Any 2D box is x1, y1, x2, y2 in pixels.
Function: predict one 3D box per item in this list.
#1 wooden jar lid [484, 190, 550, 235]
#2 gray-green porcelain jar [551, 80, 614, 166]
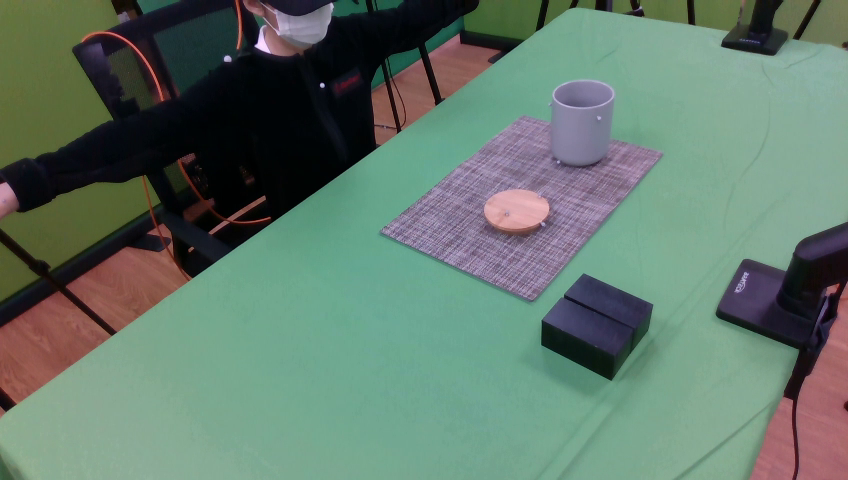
[{"bbox_3d":[0.154,-0.045,1.001,0.108,0.021,0.108,-3,40,3],"label":"wooden jar lid"},{"bbox_3d":[0.282,-0.205,1.087,0.106,0.127,0.105,-4,40,4],"label":"gray-green porcelain jar"}]
